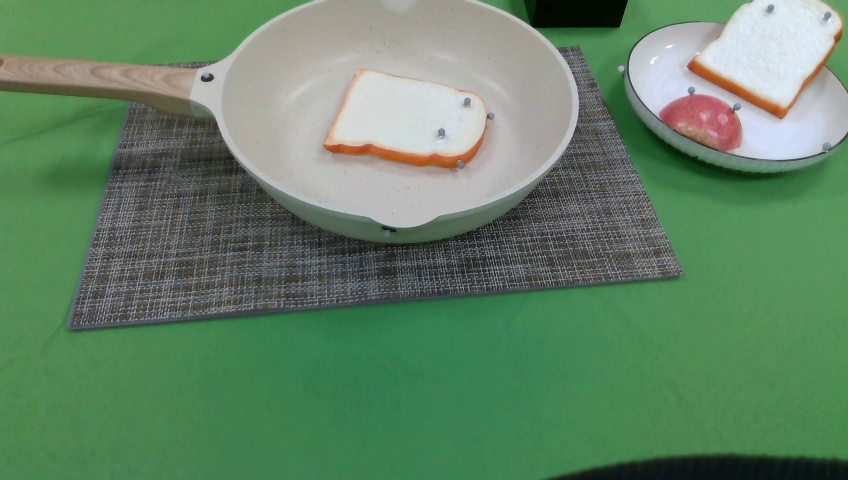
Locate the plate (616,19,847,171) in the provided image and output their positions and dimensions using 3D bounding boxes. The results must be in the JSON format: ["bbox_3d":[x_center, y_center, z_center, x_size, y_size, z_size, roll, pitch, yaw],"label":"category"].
[{"bbox_3d":[0.286,-0.137,0.579,0.208,0.039,0.205,1,52,-1],"label":"plate"}]

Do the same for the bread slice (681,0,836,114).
[{"bbox_3d":[0.339,-0.199,0.603,0.104,0.019,0.131,37,80,22],"label":"bread slice"}]

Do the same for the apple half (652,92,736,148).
[{"bbox_3d":[0.244,-0.112,0.534,0.081,0.033,0.080,14,29,-8],"label":"apple half"}]

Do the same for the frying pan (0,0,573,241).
[{"bbox_3d":[-0.128,-0.120,0.499,0.489,0.103,0.303,5,51,-9],"label":"frying pan"}]

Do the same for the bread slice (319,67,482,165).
[{"bbox_3d":[-0.016,-0.111,0.547,0.134,0.018,0.106,8,53,4],"label":"bread slice"}]
